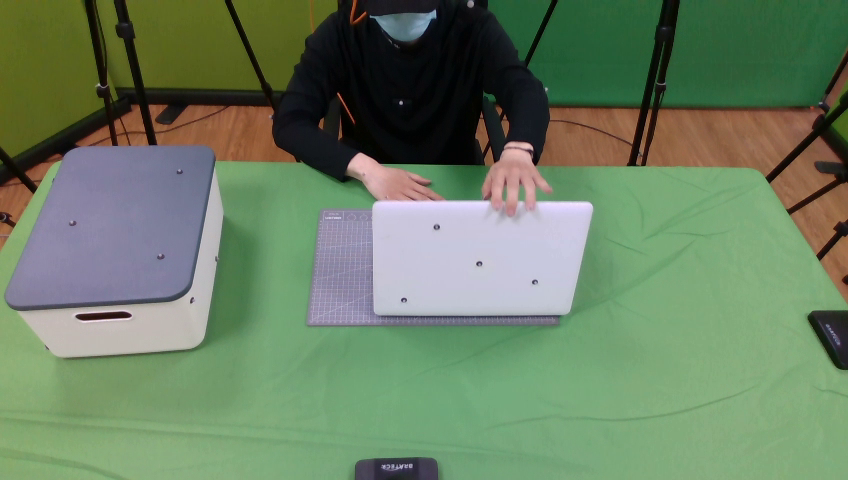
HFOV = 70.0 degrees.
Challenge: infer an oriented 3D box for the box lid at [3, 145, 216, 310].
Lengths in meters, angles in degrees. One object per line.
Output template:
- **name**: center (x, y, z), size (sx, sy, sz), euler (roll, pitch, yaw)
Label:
- **box lid**: center (-0.495, -0.040, 0.998), size (0.263, 0.015, 0.369), euler (-2, 47, -8)

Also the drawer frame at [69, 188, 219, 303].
- **drawer frame**: center (-0.495, 0.005, 1.100), size (0.202, 0.083, 0.212), euler (-2, 49, -4)

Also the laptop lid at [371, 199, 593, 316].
- **laptop lid**: center (0.090, 0.036, 1.006), size (0.357, 0.243, 0.013), euler (1, 34, -5)

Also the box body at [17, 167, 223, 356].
- **box body**: center (-0.499, 0.012, 1.051), size (0.254, 0.161, 0.361), euler (-3, 47, -7)

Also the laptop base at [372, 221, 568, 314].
- **laptop base**: center (0.080, 0.049, 1.159), size (0.355, 0.023, 0.234), euler (0, 43, -4)

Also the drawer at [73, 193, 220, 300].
- **drawer**: center (-0.494, 0.009, 1.103), size (0.195, 0.073, 0.210), euler (2, 45, -6)
